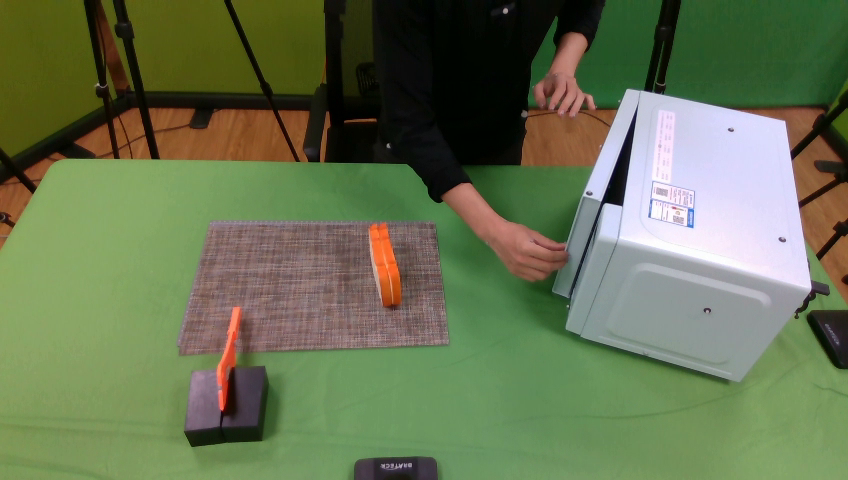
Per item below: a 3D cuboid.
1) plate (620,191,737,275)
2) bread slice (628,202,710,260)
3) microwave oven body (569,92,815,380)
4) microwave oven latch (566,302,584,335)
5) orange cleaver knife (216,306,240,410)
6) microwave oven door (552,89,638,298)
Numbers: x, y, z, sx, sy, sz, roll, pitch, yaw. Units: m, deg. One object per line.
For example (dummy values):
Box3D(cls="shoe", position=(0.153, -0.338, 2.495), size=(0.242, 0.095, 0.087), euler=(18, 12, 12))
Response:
Box3D(cls="plate", position=(0.474, -0.009, 1.142), size=(0.208, 0.039, 0.206), euler=(0, 47, 0))
Box3D(cls="bread slice", position=(0.474, -0.024, 1.161), size=(0.134, 0.018, 0.106), euler=(-26, 52, -17))
Box3D(cls="microwave oven body", position=(0.468, -0.022, 1.082), size=(0.325, 0.261, 0.440), euler=(15, 46, 11))
Box3D(cls="microwave oven latch", position=(0.268, 0.126, 1.059), size=(0.030, 0.029, 0.079), euler=(16, 46, 12))
Box3D(cls="orange cleaver knife", position=(-0.307, 0.180, 0.957), size=(0.012, 0.077, 0.210), euler=(-2, 25, -8))
Box3D(cls="microwave oven door", position=(0.326, -0.096, 1.136), size=(0.039, 0.245, 0.354), euler=(20, 48, 14))
